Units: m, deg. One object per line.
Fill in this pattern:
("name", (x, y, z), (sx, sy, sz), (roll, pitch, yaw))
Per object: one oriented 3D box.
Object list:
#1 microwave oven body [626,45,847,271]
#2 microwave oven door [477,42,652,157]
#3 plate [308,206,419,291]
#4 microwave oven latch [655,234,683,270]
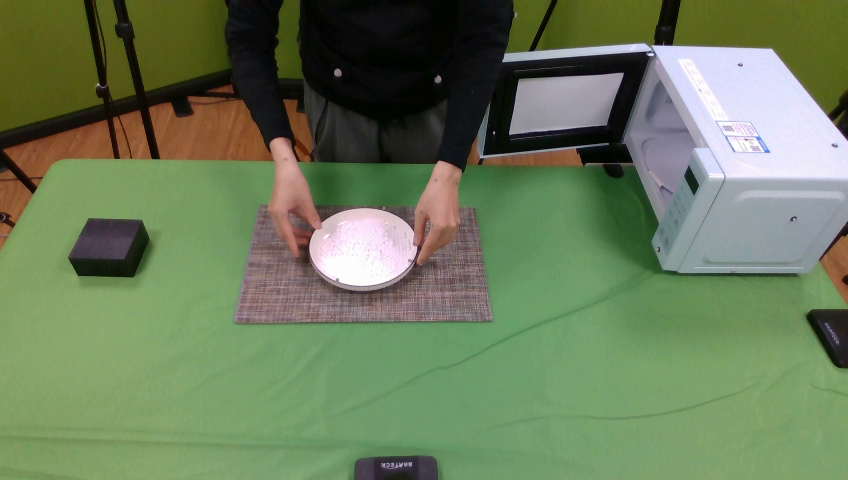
("microwave oven body", (0.619, -0.172, 1.234), (0.326, 0.261, 0.439), (0, 46, -3))
("microwave oven door", (0.303, -0.308, 1.335), (0.356, 0.245, 0.039), (-8, 47, -11))
("plate", (-0.115, 0.019, 1.154), (0.209, 0.038, 0.208), (2, 47, -2))
("microwave oven latch", (0.473, 0.021, 1.175), (0.030, 0.029, 0.078), (2, 46, 0))
